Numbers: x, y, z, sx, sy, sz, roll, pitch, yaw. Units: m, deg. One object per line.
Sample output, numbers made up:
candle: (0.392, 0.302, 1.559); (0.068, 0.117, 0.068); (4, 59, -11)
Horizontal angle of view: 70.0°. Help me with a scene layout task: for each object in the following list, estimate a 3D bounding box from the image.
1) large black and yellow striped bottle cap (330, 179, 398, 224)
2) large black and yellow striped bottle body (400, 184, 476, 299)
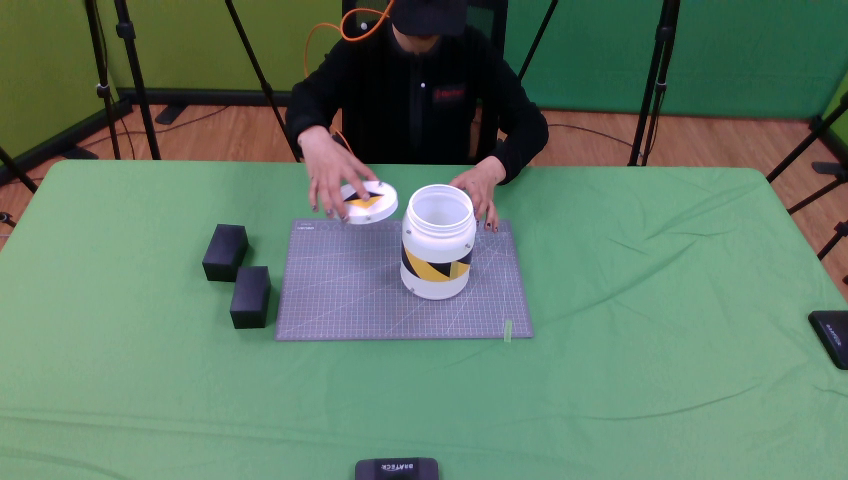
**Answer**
large black and yellow striped bottle cap: (-0.101, -0.067, 1.021); (0.115, 0.019, 0.114); (-3, 37, 2)
large black and yellow striped bottle body: (0.024, 0.003, 1.079); (0.131, 0.185, 0.130); (2, 46, -2)
